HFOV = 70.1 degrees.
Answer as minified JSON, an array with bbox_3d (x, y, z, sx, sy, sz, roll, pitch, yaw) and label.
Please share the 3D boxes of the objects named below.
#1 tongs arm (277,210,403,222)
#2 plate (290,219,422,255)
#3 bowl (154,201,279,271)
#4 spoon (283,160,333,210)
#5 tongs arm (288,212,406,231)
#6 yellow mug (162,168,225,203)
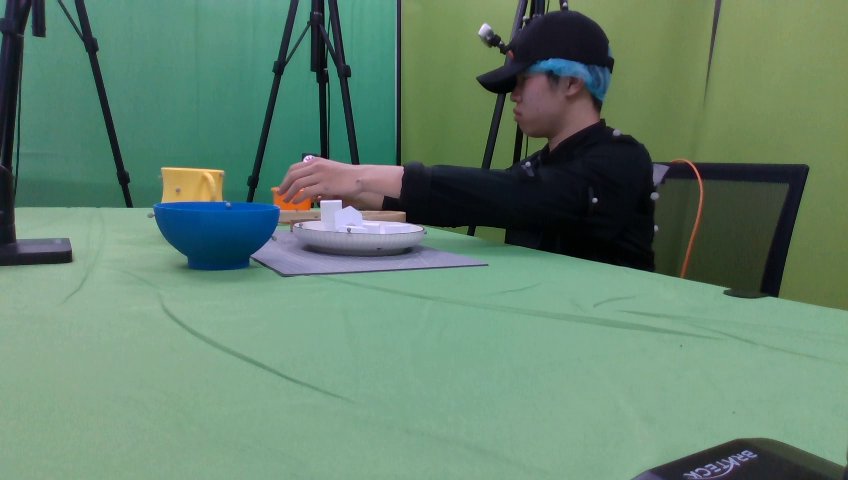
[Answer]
[{"bbox_3d":[-0.206,-0.052,1.332,0.387,0.026,0.050,-2,8,-44],"label":"tongs arm"},{"bbox_3d":[-0.107,-0.005,0.963,0.208,0.039,0.207,2,7,0],"label":"plate"},{"bbox_3d":[-0.263,-0.005,0.773,0.151,0.077,0.151,3,8,0],"label":"bowl"},{"bbox_3d":[-0.262,-0.115,1.359,0.041,0.194,0.022,14,-31,37],"label":"spoon"},{"bbox_3d":[-0.146,-0.041,1.280,0.028,0.028,0.389,2,5,33],"label":"tongs arm"},{"bbox_3d":[-0.383,-0.087,1.026,0.130,0.064,0.100,11,11,44],"label":"yellow mug"}]
